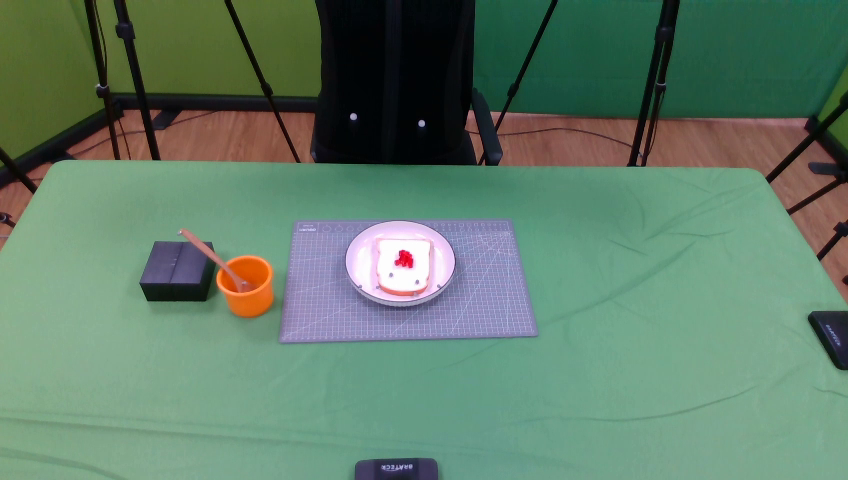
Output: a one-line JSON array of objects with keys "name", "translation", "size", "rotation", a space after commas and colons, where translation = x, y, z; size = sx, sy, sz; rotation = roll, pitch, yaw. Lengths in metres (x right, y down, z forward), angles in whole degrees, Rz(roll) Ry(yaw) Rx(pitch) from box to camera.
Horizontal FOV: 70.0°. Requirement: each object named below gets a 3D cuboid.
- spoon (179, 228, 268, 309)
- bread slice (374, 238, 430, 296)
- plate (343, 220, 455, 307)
[{"name": "spoon", "translation": [-0.342, 0.048, 1.037], "size": [0.021, 0.194, 0.041], "rotation": [-19, 28, 44]}, {"name": "bread slice", "translation": [-0.039, 0.048, 1.135], "size": [0.107, 0.018, 0.133], "rotation": [-1, 47, -4]}, {"name": "plate", "translation": [-0.047, 0.046, 1.135], "size": [0.209, 0.038, 0.208], "rotation": [2, 46, -2]}]
